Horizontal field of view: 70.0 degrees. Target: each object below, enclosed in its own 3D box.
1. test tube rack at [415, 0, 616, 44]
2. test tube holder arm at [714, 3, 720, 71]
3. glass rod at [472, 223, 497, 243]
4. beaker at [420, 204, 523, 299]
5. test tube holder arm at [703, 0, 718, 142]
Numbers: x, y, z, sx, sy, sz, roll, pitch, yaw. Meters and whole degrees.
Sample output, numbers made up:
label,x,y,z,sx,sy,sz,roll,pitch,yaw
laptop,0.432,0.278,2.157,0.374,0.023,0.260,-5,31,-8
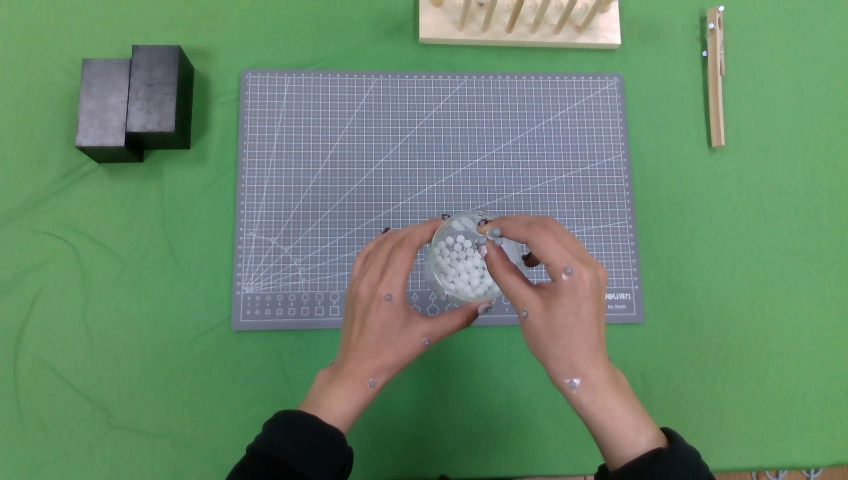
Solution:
label,x,y,z,sx,sy,sz,roll,pitch,yaw
test tube rack,0.113,-0.281,0.698,0.243,0.085,0.066,1,78,-4
test tube holder arm,0.354,-0.248,0.742,0.010,0.015,0.087,12,77,-31
glass rod,0.045,-0.003,0.476,0.008,0.200,0.008,0,88,2
beaker,0.036,0.016,0.528,0.084,0.100,0.074,18,82,-3
test tube holder arm,0.346,-0.205,0.730,0.013,0.015,0.177,12,77,-32
